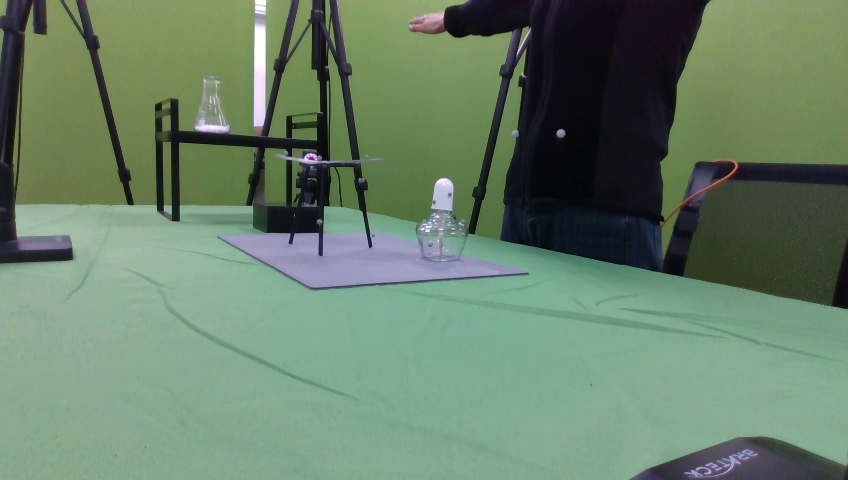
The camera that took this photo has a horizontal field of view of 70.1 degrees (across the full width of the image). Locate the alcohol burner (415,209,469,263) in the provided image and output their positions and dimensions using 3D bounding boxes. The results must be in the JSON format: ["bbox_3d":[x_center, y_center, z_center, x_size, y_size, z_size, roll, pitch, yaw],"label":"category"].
[{"bbox_3d":[0.025,-0.028,0.863,0.078,0.119,0.078,1,6,0],"label":"alcohol burner"}]

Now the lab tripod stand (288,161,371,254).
[{"bbox_3d":[-0.148,-0.052,0.909,0.148,0.131,0.148,1,8,0],"label":"lab tripod stand"}]

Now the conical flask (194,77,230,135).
[{"bbox_3d":[-0.461,-0.292,1.317,0.075,0.122,0.075,2,7,0],"label":"conical flask"}]

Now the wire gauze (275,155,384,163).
[{"bbox_3d":[-0.142,-0.118,0.900,0.122,0.011,0.124,-3,8,-37],"label":"wire gauze"}]

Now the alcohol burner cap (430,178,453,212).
[{"bbox_3d":[0.027,-0.064,0.858,0.034,0.048,0.034,5,4,0],"label":"alcohol burner cap"}]
